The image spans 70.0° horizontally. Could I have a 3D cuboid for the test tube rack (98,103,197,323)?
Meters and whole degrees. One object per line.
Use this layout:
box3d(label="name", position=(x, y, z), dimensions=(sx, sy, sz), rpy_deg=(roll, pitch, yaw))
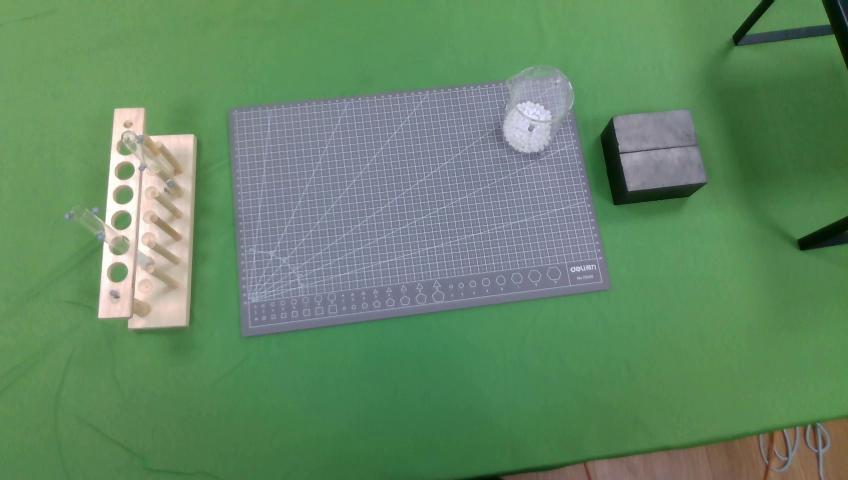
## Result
box3d(label="test tube rack", position=(-0.316, -0.030, 0.705), dimensions=(0.067, 0.085, 0.241), rpy_deg=(-2, 75, -3))

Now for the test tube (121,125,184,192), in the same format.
box3d(label="test tube", position=(-0.300, -0.087, 0.675), dimensions=(0.017, 0.151, 0.017), rpy_deg=(1, 72, -2))

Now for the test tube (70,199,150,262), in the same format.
box3d(label="test tube", position=(-0.331, -0.006, 0.648), dimensions=(0.017, 0.151, 0.017), rpy_deg=(0, 69, 0))

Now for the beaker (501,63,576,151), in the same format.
box3d(label="beaker", position=(0.134, -0.161, 0.749), dimensions=(0.084, 0.101, 0.073), rpy_deg=(24, 75, 6))
